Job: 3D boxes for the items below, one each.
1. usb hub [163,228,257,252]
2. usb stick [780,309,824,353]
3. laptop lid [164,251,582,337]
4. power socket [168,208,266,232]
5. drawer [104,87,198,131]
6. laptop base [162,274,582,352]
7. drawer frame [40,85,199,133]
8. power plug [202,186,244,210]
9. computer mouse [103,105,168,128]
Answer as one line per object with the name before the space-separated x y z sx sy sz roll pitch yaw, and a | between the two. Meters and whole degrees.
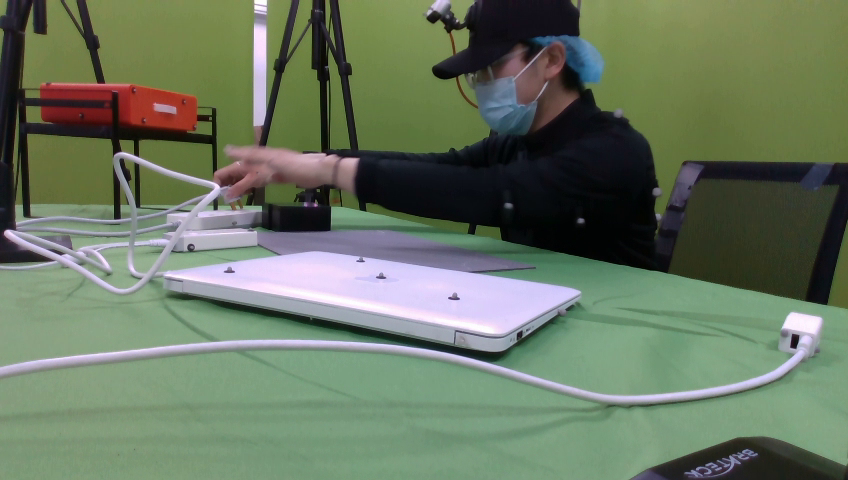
usb hub | -0.314 -0.001 0.895 0.049 0.025 0.126 10 11 40
usb stick | 0.311 0.072 0.496 0.027 0.021 0.059 7 14 34
laptop lid | -0.045 0.040 0.599 0.355 0.013 0.243 7 7 30
power socket | -0.380 -0.038 1.130 0.072 0.032 0.227 4 8 19
drawer | -0.609 -0.264 1.235 0.211 0.073 0.195 3 8 16
laptop base | -0.046 0.052 0.598 0.353 0.023 0.236 6 6 28
drawer frame | -0.612 -0.266 1.235 0.213 0.082 0.202 4 8 15
power plug | -0.389 -0.076 1.182 0.073 0.053 0.035 -24 16 -13
computer mouse | -0.582 -0.249 1.223 0.118 0.041 0.062 2 3 -39
